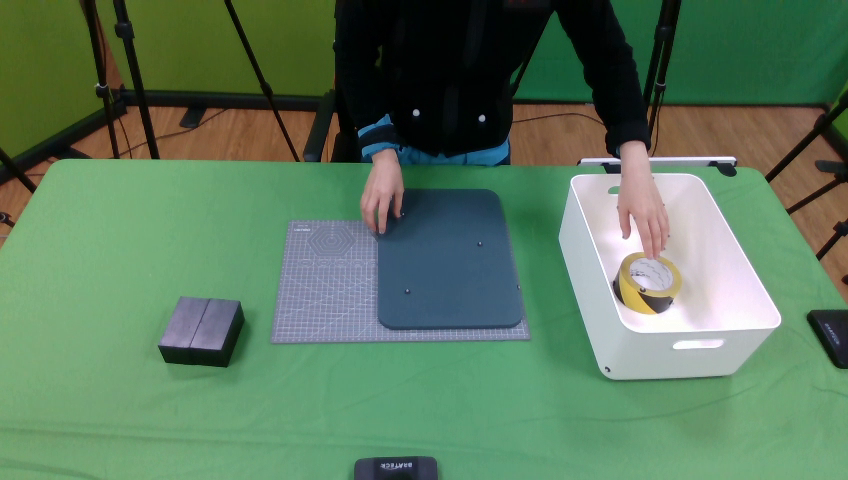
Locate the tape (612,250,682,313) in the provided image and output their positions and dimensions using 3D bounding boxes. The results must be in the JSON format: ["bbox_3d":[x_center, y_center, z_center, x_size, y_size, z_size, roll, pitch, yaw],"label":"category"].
[{"bbox_3d":[0.412,0.076,1.123,0.117,0.053,0.116,4,48,-4],"label":"tape"}]

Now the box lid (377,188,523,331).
[{"bbox_3d":[0.040,0.024,1.181,0.263,0.015,0.369,0,46,-4],"label":"box lid"}]

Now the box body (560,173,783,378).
[{"bbox_3d":[0.405,0.057,1.074,0.254,0.161,0.361,-2,46,-5],"label":"box body"}]
